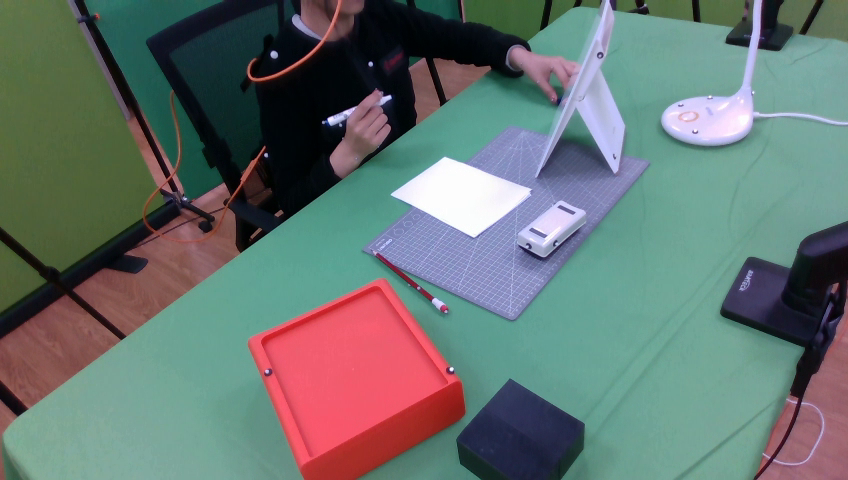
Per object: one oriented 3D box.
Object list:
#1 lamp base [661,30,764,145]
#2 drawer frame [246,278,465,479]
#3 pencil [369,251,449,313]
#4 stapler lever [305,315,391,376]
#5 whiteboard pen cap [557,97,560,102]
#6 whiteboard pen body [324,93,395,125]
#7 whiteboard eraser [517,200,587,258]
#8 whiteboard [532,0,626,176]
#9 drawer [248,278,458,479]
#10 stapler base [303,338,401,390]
[{"bbox_3d":[0.535,-0.287,1.096,0.179,0.181,0.159,-10,40,-4],"label":"lamp base"},{"bbox_3d":[-0.088,0.168,0.752,0.202,0.083,0.211,-24,43,-18],"label":"drawer frame"},{"bbox_3d":[-0.028,0.060,0.924,0.012,0.012,0.192,-33,46,-25],"label":"pencil"},{"bbox_3d":[-0.100,0.136,0.790,0.118,0.040,0.026,-23,43,-12],"label":"stapler lever"},{"bbox_3d":[0.295,-0.299,1.278,0.033,0.018,0.018,-35,47,-28],"label":"whiteboard pen cap"},{"bbox_3d":[-0.119,-0.246,1.121,0.140,0.017,0.017,-21,40,8],"label":"whiteboard pen body"},{"bbox_3d":[0.201,-0.016,0.943,0.113,0.042,0.055,-37,46,-29],"label":"whiteboard eraser"},{"bbox_3d":[0.321,-0.258,1.049,0.144,0.306,0.217,21,45,5],"label":"whiteboard"},{"bbox_3d":[-0.092,0.167,0.756,0.195,0.073,0.210,-24,43,-18],"label":"drawer"},{"bbox_3d":[-0.096,0.160,0.813,0.131,0.024,0.041,-17,42,-18],"label":"stapler base"}]
